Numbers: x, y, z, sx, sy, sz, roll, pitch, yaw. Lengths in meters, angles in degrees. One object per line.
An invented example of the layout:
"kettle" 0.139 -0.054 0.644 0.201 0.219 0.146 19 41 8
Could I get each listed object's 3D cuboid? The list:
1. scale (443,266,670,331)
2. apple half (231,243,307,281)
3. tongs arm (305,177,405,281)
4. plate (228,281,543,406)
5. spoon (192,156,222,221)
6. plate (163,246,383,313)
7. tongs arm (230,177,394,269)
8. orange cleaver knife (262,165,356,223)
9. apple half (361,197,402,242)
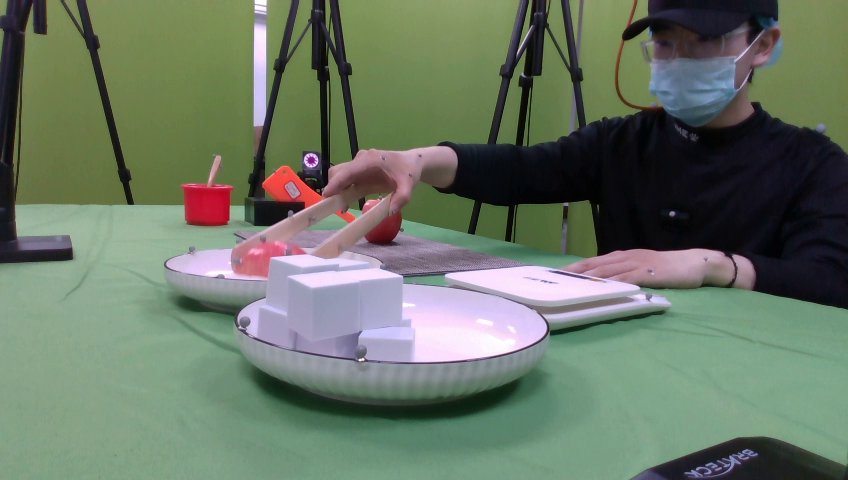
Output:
"scale" 0.131 0.052 0.603 0.202 0.031 0.148 -2 9 -37
"apple half" -0.142 0.018 0.582 0.081 0.033 0.081 4 10 0
"tongs arm" -0.072 -0.026 0.740 0.028 0.028 0.388 2 17 12
"plate" -0.025 0.067 0.413 0.208 0.039 0.207 3 7 0
"spoon" -0.430 -0.108 1.222 0.041 0.021 0.193 -1 52 1
"plate" -0.145 0.038 0.600 0.209 0.038 0.209 2 8 0
"tongs arm" -0.115 -0.032 0.749 0.050 0.026 0.385 6 18 12
"orange cleaver knife" -0.243 -0.081 1.292 0.212 0.077 0.012 34 -8 -26
"apple half" -0.066 -0.033 1.014 0.053 0.074 0.081 10 6 20
